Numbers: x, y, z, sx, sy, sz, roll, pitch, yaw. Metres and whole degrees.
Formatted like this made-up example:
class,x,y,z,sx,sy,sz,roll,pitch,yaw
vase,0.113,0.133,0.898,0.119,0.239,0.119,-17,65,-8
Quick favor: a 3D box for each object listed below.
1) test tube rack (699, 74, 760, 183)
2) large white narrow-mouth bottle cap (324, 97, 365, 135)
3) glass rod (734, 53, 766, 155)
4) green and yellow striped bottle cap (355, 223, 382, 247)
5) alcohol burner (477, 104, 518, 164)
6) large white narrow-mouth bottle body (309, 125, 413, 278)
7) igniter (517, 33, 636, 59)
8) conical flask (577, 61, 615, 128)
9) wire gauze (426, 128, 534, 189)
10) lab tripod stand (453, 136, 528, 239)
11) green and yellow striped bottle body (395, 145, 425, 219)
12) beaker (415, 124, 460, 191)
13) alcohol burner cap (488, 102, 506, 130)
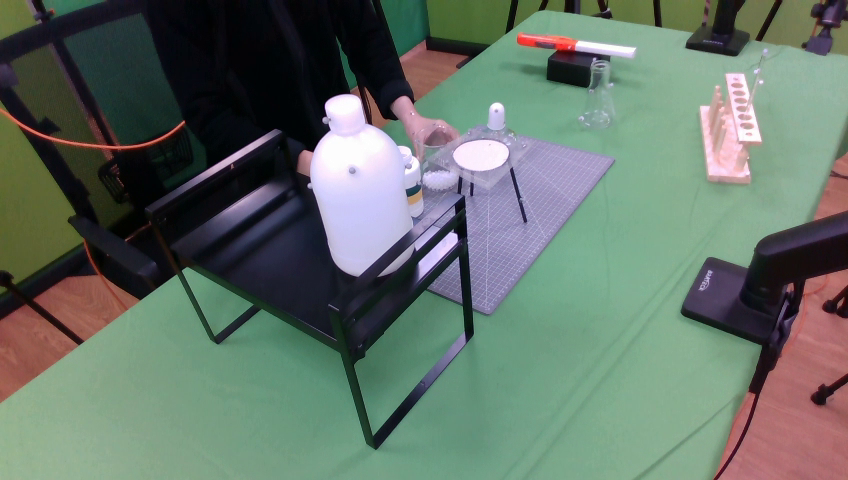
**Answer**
class,x,y,z,sx,sy,sz,roll,pitch,yaw
test tube rack,0.547,-0.208,1.095,0.066,0.085,0.242,6,42,16
large white narrow-mouth bottle cap,-0.076,-0.121,0.584,0.038,0.024,0.037,-3,42,3
glass rod,0.540,-0.220,1.007,0.008,0.201,0.008,-5,46,6
green and yellow striped bottle cap,-0.092,-0.009,1.001,0.045,0.020,0.045,-2,38,2
alcohol burner,0.135,-0.200,1.117,0.078,0.119,0.077,-4,43,4
large white narrow-mouth bottle body,-0.068,-0.057,0.644,0.102,0.195,0.101,-3,42,4
igniter,0.336,-0.441,1.369,0.275,0.025,0.057,16,41,23
conical flask,0.343,-0.288,1.187,0.075,0.122,0.075,-4,41,4
wire gauze,0.086,-0.131,0.924,0.124,0.011,0.122,26,52,33
lab tripod stand,0.094,-0.086,0.974,0.148,0.132,0.147,-4,42,4
green and yellow striped bottle body,-0.035,-0.099,1.017,0.063,0.120,0.063,-4,41,4
beaker,0.027,-0.147,1.081,0.073,0.100,0.084,12,44,21
alcohol burner cap,0.133,-0.227,1.092,0.034,0.048,0.033,-1,47,2
